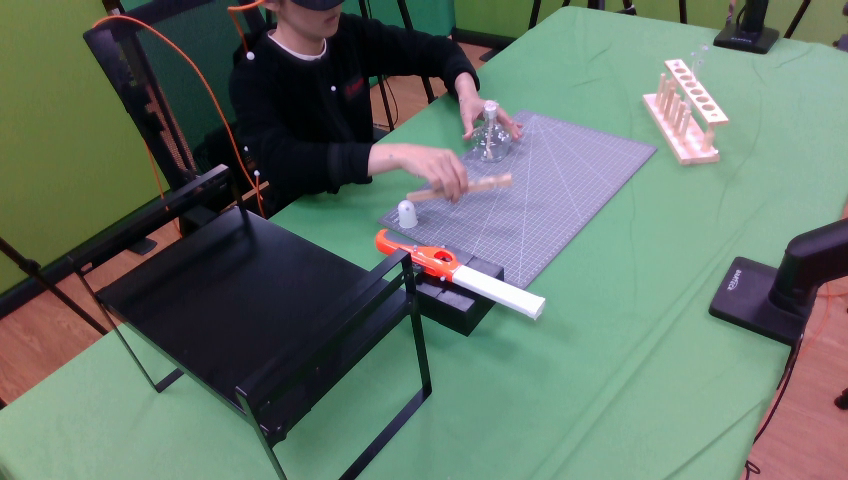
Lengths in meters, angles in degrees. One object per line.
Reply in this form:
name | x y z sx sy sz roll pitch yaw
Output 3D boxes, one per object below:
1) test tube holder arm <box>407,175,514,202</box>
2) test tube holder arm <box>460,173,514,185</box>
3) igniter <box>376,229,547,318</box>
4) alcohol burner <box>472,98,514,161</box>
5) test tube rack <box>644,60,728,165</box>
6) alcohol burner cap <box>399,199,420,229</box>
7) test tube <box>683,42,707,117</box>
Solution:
test tube holder arm | 0.059 -0.084 0.996 0.178 0.015 0.013 -10 25 11
test tube holder arm | 0.103 -0.094 0.992 0.087 0.015 0.010 -10 25 12
igniter | 0.040 0.041 0.845 0.274 0.025 0.057 22 46 27
alcohol burner | 0.127 -0.208 1.123 0.078 0.119 0.077 -5 39 5
test tube rack | 0.485 -0.246 1.140 0.067 0.085 0.241 -5 41 4
alcohol burner cap | -0.026 -0.046 1.014 0.034 0.048 0.033 -4 41 4
test tube | 0.497 -0.292 1.114 0.017 0.151 0.017 -4 44 4
